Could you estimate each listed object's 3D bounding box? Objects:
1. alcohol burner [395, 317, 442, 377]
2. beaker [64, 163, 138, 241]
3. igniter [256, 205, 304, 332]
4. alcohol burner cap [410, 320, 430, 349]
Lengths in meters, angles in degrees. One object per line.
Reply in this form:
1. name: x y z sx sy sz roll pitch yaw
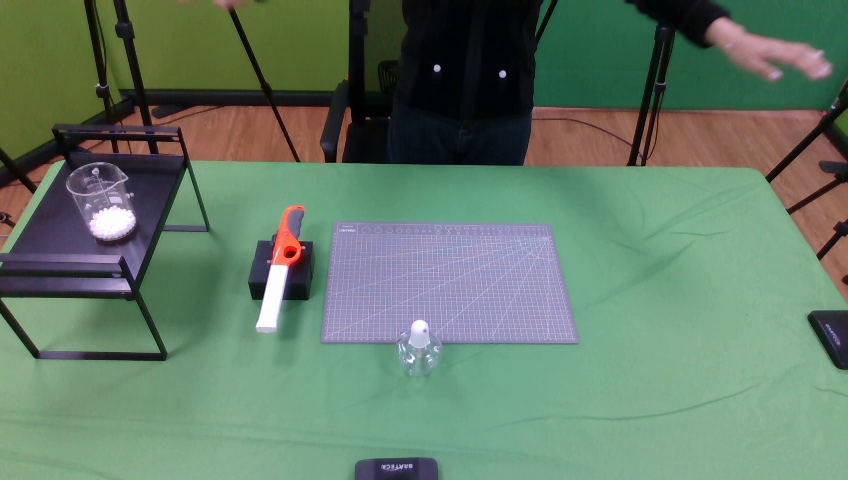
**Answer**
1. alcohol burner: -0.009 0.166 0.972 0.078 0.120 0.077 1 45 0
2. beaker: -0.477 -0.055 0.910 0.084 0.101 0.073 -9 48 -13
3. igniter: -0.252 0.040 1.070 0.057 0.025 0.275 3 50 -1
4. alcohol burner cap: -0.007 0.144 0.950 0.034 0.048 0.033 0 47 0
